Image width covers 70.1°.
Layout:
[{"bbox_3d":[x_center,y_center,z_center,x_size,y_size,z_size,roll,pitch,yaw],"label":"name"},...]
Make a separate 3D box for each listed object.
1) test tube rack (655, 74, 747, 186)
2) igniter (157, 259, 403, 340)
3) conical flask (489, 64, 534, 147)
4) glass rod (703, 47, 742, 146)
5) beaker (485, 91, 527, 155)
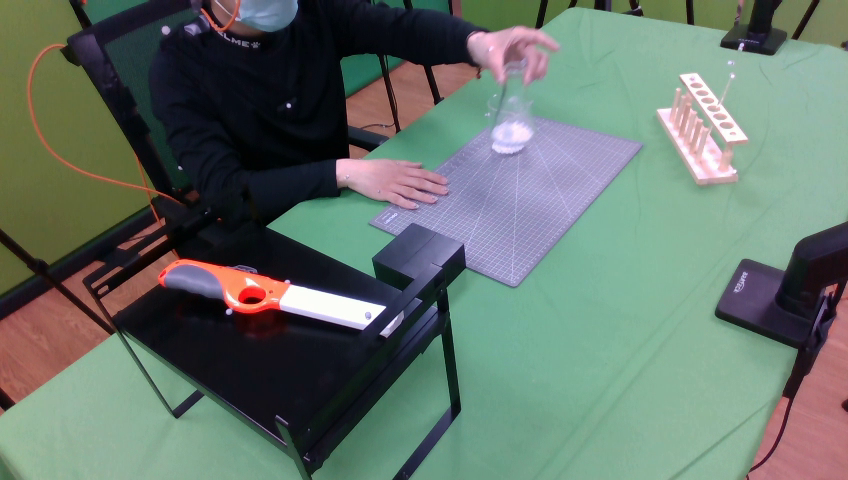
[{"bbox_3d":[0.491,-0.205,1.092,0.067,0.085,0.241,-5,40,3],"label":"test tube rack"},{"bbox_3d":[-0.157,0.059,0.637,0.275,0.025,0.057,11,43,14],"label":"igniter"},{"bbox_3d":[0.141,-0.216,0.966,0.075,0.122,0.075,-3,38,3],"label":"conical flask"},{"bbox_3d":[0.503,-0.237,1.027,0.008,0.200,0.008,-2,49,2],"label":"glass rod"},{"bbox_3d":[0.158,-0.217,1.141,0.074,0.101,0.083,-19,42,-12],"label":"beaker"}]
